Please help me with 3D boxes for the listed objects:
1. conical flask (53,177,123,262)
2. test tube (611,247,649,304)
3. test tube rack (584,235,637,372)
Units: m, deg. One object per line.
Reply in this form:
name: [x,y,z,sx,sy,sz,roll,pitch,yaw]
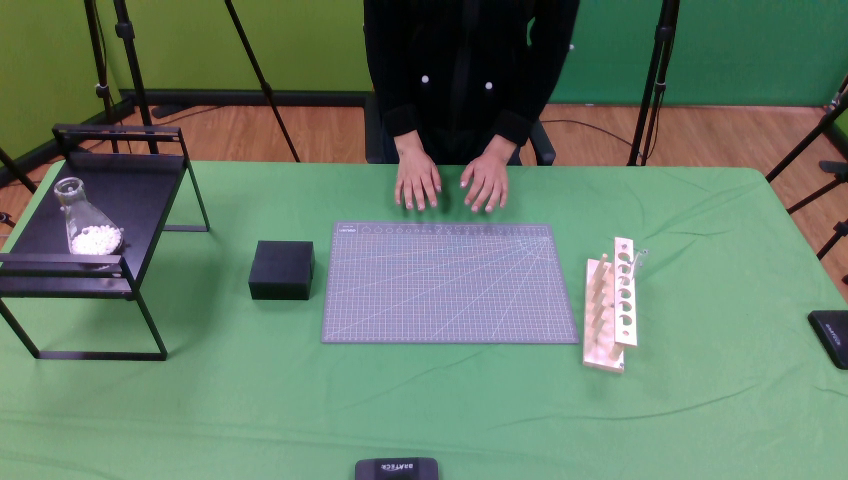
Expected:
conical flask: [-0.490,-0.033,0.872,0.075,0.122,0.075,1,46,-1]
test tube: [0.352,0.065,1.043,0.017,0.151,0.017,3,49,-4]
test tube rack: [0.329,0.103,1.073,0.067,0.085,0.241,11,47,7]
